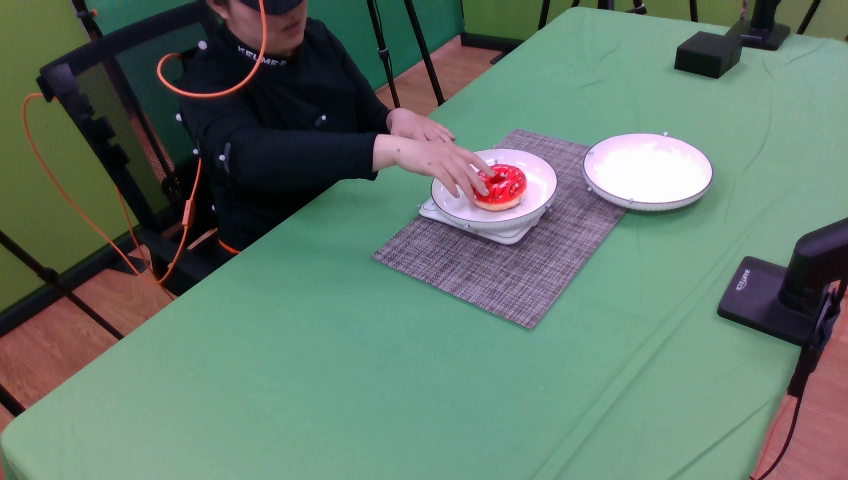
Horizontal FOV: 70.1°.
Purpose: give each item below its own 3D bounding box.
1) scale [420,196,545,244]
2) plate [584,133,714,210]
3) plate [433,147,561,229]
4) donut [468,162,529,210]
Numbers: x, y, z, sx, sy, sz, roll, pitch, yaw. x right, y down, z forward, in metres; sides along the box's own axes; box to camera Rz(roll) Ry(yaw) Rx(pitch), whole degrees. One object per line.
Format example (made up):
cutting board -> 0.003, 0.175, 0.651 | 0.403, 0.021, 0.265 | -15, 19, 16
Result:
scale -> 0.106, -0.065, 1.029 | 0.199, 0.032, 0.149 | 21, 48, 32
plate -> 0.379, -0.113, 1.030 | 0.209, 0.038, 0.208 | -4, 41, 4
plate -> 0.120, -0.082, 0.996 | 0.207, 0.039, 0.206 | -6, 40, 5
donut -> 0.121, -0.088, 0.985 | 0.099, 0.048, 0.098 | -7, 42, 7
